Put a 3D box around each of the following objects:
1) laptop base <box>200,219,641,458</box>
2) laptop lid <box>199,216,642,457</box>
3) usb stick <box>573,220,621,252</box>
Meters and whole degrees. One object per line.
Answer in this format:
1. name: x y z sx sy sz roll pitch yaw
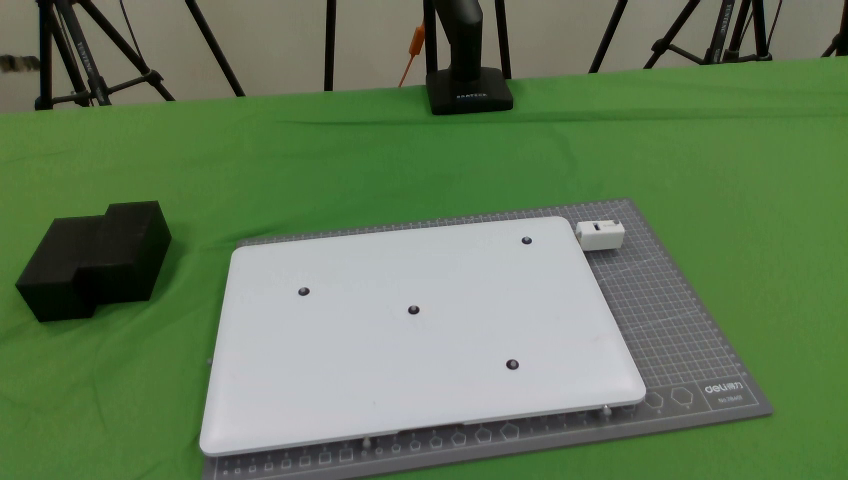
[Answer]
1. laptop base: -0.010 0.076 0.560 0.355 0.023 0.233 -6 44 -5
2. laptop lid: -0.010 0.068 0.550 0.357 0.013 0.239 -5 42 -4
3. usb stick: 0.171 -0.004 0.628 0.059 0.027 0.021 -6 42 -2
